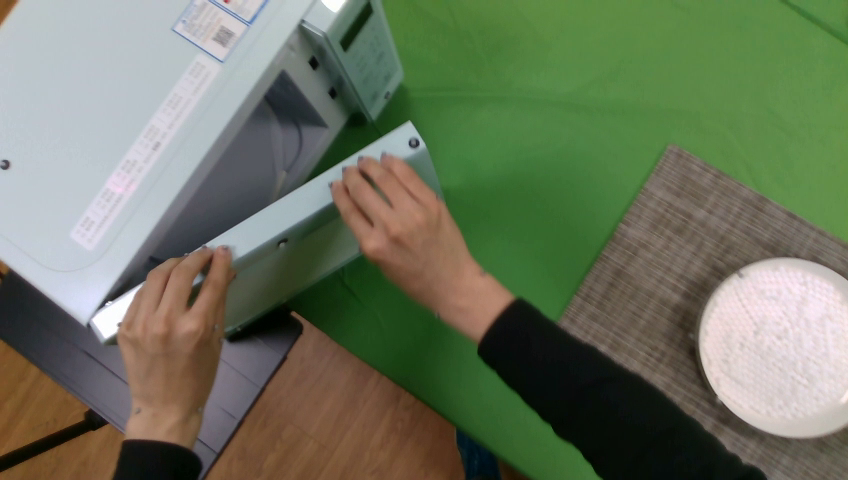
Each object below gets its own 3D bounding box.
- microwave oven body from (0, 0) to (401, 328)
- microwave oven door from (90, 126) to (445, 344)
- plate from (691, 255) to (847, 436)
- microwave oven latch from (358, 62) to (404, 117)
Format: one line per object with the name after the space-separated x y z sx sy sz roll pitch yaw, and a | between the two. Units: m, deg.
-0.289 -0.152 0.716 0.325 0.261 0.441 34 87 9 | microwave oven body
-0.145 0.011 0.673 0.356 0.245 0.039 -32 79 0 | microwave oven door
0.422 0.122 0.715 0.209 0.038 0.208 -1 81 6 | plate
-0.058 -0.203 0.799 0.030 0.029 0.079 36 87 9 | microwave oven latch
